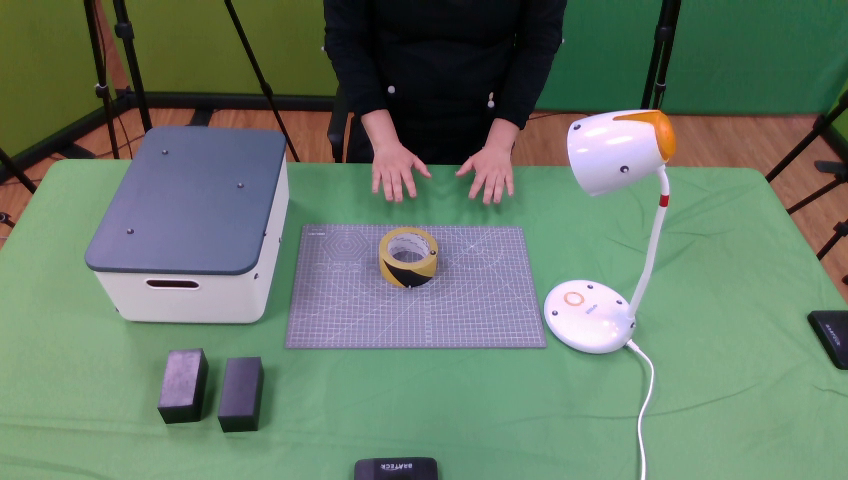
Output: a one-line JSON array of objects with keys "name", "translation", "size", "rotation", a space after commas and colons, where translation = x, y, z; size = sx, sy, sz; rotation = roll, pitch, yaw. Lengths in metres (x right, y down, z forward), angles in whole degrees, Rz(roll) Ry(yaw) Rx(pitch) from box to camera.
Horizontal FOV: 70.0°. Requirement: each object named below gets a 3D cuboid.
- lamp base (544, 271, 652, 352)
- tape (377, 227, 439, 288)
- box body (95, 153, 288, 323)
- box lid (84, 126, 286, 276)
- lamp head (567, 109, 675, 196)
[{"name": "lamp base", "translation": [0.310, 0.086, 1.029], "size": [0.178, 0.181, 0.160], "rotation": [32, 52, 21]}, {"name": "tape", "translation": [-0.031, 0.032, 1.140], "size": [0.117, 0.053, 0.116], "rotation": [2, 46, -2]}, {"name": "box body", "translation": [-0.396, -0.031, 1.100], "size": [0.254, 0.161, 0.361], "rotation": [1, 46, -3]}, {"name": "box lid", "translation": [-0.393, -0.081, 1.046], "size": [0.263, 0.015, 0.369], "rotation": [2, 46, -3]}, {"name": "lamp head", "translation": [0.272, -0.123, 0.818], "size": [0.122, 0.113, 0.112], "rotation": [-9, 35, 37]}]
